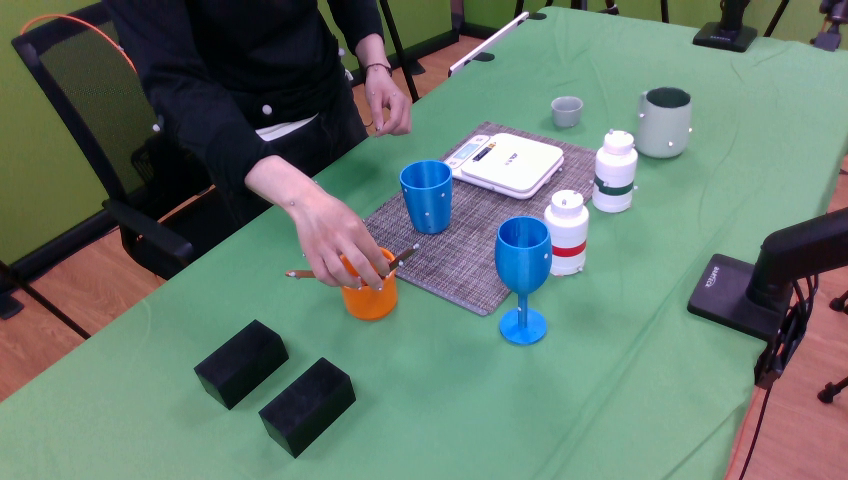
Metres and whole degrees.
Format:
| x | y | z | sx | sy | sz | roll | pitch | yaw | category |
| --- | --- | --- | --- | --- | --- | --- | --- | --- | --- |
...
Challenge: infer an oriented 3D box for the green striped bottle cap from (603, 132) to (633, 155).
| x | y | z | sx | sy | sz | roll | pitch | yaw | category |
| --- | --- | --- | --- | --- | --- | --- | --- | --- | --- |
| 0.302 | -0.149 | 0.939 | 0.044 | 0.020 | 0.044 | -3 | 40 | 3 | green striped bottle cap |

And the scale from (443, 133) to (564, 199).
| x | y | z | sx | sy | sz | roll | pitch | yaw | category |
| --- | --- | --- | --- | --- | --- | --- | --- | --- | --- |
| 0.137 | -0.142 | 1.101 | 0.199 | 0.032 | 0.149 | 22 | 48 | 30 | scale |

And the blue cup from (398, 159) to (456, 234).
| x | y | z | sx | sy | sz | roll | pitch | yaw | category |
| --- | --- | --- | --- | --- | --- | --- | --- | --- | --- |
| 0.006 | -0.065 | 0.976 | 0.092 | 0.100 | 0.092 | -4 | 39 | 3 | blue cup |

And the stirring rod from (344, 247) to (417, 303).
| x | y | z | sx | sy | sz | roll | pitch | yaw | category |
| --- | --- | --- | --- | --- | --- | --- | --- | --- | --- |
| -0.062 | 0.050 | 0.819 | 0.014 | 0.175 | 0.006 | -2 | 64 | -41 | stirring rod |

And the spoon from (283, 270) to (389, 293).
| x | y | z | sx | sy | sz | roll | pitch | yaw | category |
| --- | --- | --- | --- | --- | --- | --- | --- | --- | --- |
| -0.117 | 0.053 | 0.824 | 0.041 | 0.195 | 0.021 | 19 | 90 | 37 | spoon |

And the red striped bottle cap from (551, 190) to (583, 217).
| x | y | z | sx | sy | sz | roll | pitch | yaw | category |
| --- | --- | --- | --- | --- | --- | --- | --- | --- | --- |
| 0.199 | -0.052 | 0.843 | 0.044 | 0.018 | 0.044 | -2 | 42 | 2 | red striped bottle cap |

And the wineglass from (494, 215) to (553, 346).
| x | y | z | sx | sy | sz | roll | pitch | yaw | category |
| --- | --- | --- | --- | --- | --- | --- | --- | --- | --- |
| 0.127 | 0.055 | 0.770 | 0.074 | 0.173 | 0.073 | -4 | 40 | 4 | wineglass |

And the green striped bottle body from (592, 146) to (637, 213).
| x | y | z | sx | sy | sz | roll | pitch | yaw | category |
| --- | --- | --- | --- | --- | --- | --- | --- | --- | --- |
| 0.307 | -0.108 | 0.976 | 0.063 | 0.120 | 0.063 | -4 | 41 | 4 | green striped bottle body |

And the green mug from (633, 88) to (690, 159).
| x | y | z | sx | sy | sz | roll | pitch | yaw | category |
| --- | --- | --- | --- | --- | --- | --- | --- | --- | --- |
| 0.423 | -0.217 | 1.099 | 0.093 | 0.105 | 0.124 | -16 | 41 | -9 | green mug |

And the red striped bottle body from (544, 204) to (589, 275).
| x | y | z | sx | sy | sz | roll | pitch | yaw | category |
| --- | --- | --- | --- | --- | --- | --- | --- | --- | --- |
| 0.206 | -0.011 | 0.877 | 0.063 | 0.120 | 0.062 | -5 | 41 | 4 | red striped bottle body |

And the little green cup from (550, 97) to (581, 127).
| x | y | z | sx | sy | sz | roll | pitch | yaw | category |
| --- | --- | --- | --- | --- | --- | --- | --- | --- | --- |
| 0.284 | -0.255 | 1.213 | 0.061 | 0.039 | 0.061 | -5 | 41 | 5 | little green cup |
